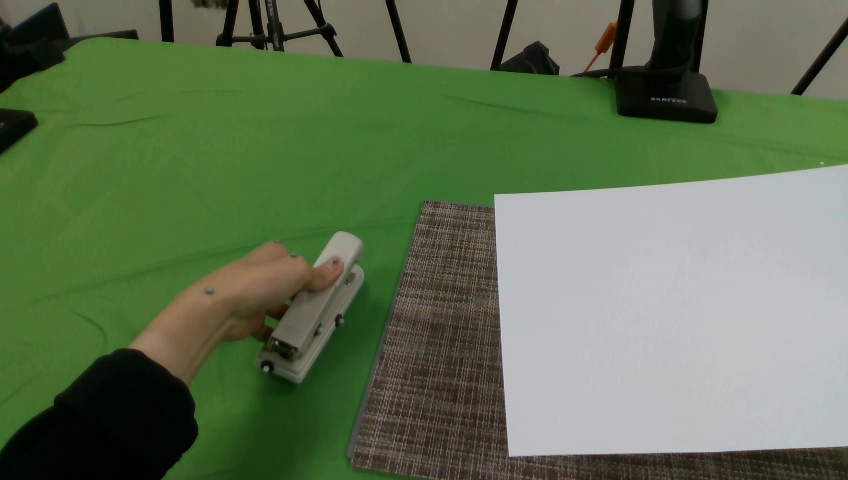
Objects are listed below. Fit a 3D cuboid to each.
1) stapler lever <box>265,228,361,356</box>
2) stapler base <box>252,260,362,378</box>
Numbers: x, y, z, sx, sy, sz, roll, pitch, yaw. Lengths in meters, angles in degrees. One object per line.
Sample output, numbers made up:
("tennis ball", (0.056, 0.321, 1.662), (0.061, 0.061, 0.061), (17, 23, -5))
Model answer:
("stapler lever", (-0.084, 0.036, 0.479), (0.027, 0.040, 0.117), (23, 44, 5))
("stapler base", (-0.090, 0.051, 0.497), (0.041, 0.024, 0.130), (23, 45, 5))
